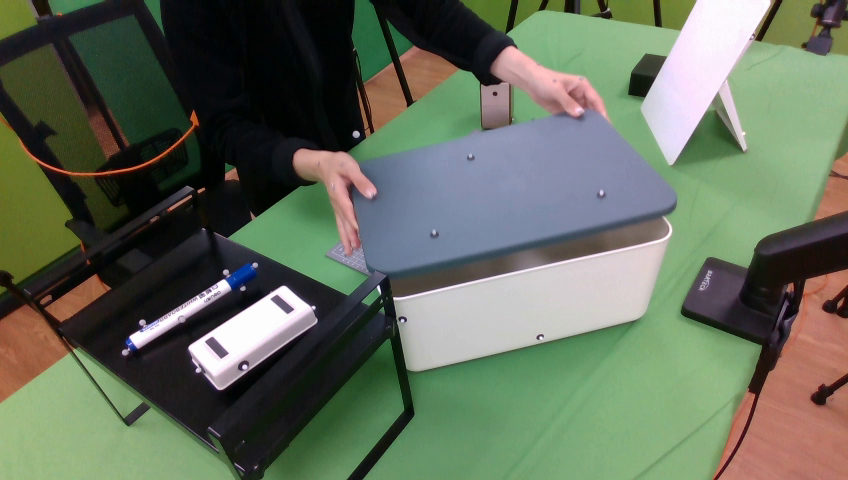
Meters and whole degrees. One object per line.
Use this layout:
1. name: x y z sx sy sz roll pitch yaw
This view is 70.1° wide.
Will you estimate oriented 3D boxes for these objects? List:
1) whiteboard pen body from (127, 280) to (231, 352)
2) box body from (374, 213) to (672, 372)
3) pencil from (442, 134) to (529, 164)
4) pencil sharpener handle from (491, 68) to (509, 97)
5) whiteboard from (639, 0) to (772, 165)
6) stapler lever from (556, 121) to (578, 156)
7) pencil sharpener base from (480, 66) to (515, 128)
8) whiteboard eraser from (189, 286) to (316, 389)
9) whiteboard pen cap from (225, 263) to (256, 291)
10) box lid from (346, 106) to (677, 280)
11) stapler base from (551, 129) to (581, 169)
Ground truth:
1. whiteboard pen body: -0.248 0.072 0.645 0.141 0.017 0.017 -35 47 -23
2. box body: 0.108 0.013 0.834 0.365 0.161 0.252 -12 41 -6
3. pencil: 0.123 -0.180 1.175 0.195 0.012 0.012 -20 42 -17
4. pencil sharpener handle: 0.156 -0.333 1.258 0.036 0.068 0.030 14 43 3
5. whiteboard: 0.543 -0.298 1.076 0.144 0.305 0.216 12 40 -7
6. stapler lever: 0.266 -0.198 1.128 0.027 0.040 0.117 0 38 3
7. pencil sharpener base: 0.151 -0.290 1.228 0.061 0.107 0.076 3 41 13
8. whiteboard eraser: -0.166 0.096 0.593 0.113 0.042 0.055 -36 47 -29
9. whiteboard pen cap: -0.204 0.041 0.668 0.033 0.018 0.018 -36 48 -22
10. box lid: 0.094 -0.074 0.762 0.372 0.015 0.261 -14 39 -5
11. stapler base: 0.268 -0.178 1.142 0.041 0.024 0.130 0 37 3
